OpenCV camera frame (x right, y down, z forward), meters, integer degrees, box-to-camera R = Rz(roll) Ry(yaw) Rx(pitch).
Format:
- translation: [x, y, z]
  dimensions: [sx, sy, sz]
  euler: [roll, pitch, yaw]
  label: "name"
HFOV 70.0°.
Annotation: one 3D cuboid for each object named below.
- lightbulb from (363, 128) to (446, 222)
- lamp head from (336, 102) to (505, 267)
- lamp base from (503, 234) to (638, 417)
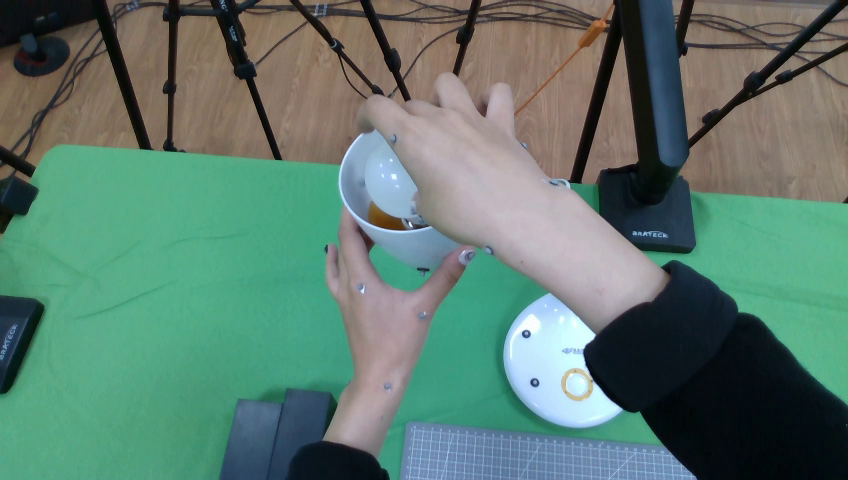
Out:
- translation: [-0.008, -0.041, 0.457]
  dimensions: [0.059, 0.108, 0.059]
  euler: [-5, 66, 12]
  label: "lightbulb"
- translation: [0.005, -0.032, 0.486]
  dimensions: [0.112, 0.124, 0.111]
  euler: [-8, 61, 15]
  label: "lamp head"
- translation: [0.171, 0.085, 0.666]
  dimensions: [0.161, 0.182, 0.177]
  euler: [-8, 60, -3]
  label: "lamp base"
